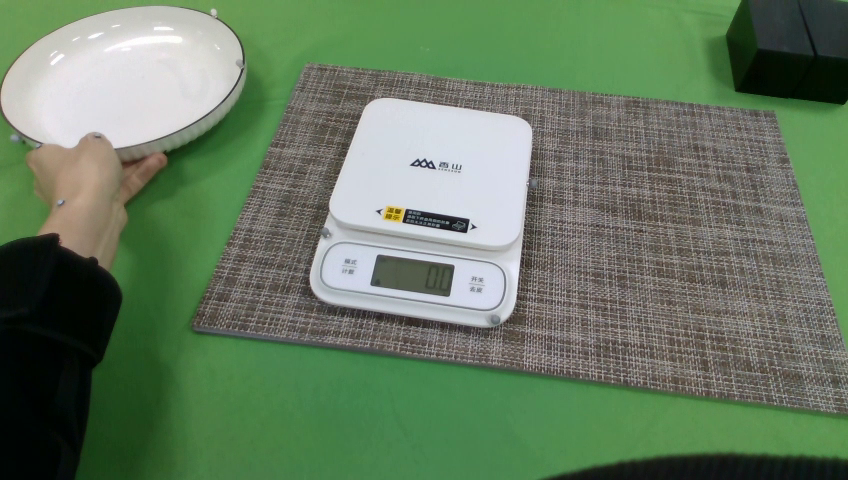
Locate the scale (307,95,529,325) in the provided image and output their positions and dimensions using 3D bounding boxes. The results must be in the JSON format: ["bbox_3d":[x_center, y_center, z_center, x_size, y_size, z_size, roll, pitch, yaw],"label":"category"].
[{"bbox_3d":[0.002,-0.033,0.471,0.148,0.032,0.199,8,53,5],"label":"scale"}]

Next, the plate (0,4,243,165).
[{"bbox_3d":[-0.266,-0.139,0.546,0.208,0.039,0.205,1,53,-1],"label":"plate"}]
